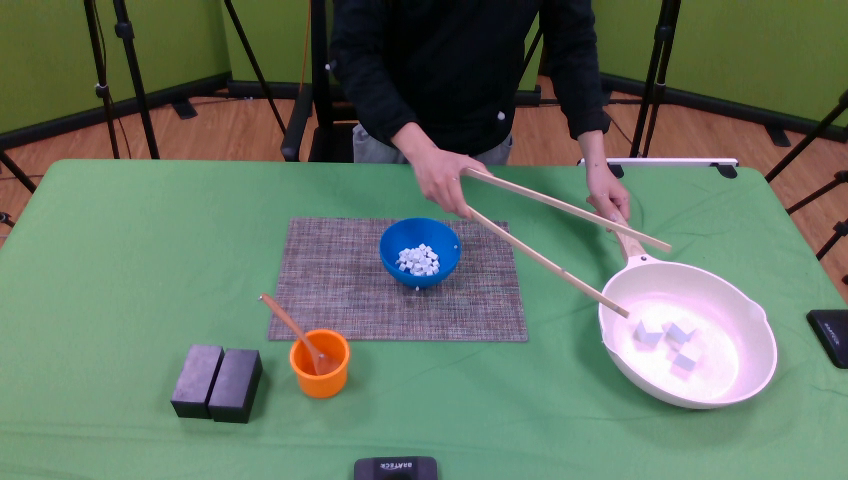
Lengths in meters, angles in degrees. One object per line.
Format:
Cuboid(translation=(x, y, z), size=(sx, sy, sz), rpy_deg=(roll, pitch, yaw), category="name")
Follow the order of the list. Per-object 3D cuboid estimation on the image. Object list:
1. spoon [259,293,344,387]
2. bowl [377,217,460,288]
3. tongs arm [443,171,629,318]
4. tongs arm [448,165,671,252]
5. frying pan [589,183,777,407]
Cuboid(translation=(-0.191, 0.155, 0.947), size=(0.021, 0.194, 0.041), rpy_deg=(-13, 27, 50), category="spoon")
Cuboid(translation=(-0.011, 0.036, 1.118), size=(0.151, 0.077, 0.150), rpy_deg=(2, 46, -2), category="bowl")
Cuboid(translation=(0.174, -0.001, 0.990), size=(0.383, 0.026, 0.050), rpy_deg=(34, 75, 23), category="tongs arm")
Cuboid(translation=(0.216, -0.056, 1.010), size=(0.386, 0.028, 0.028), rpy_deg=(23, 74, 20), category="tongs arm")
Cuboid(translation=(0.412, 0.079, 1.096), size=(0.307, 0.103, 0.484), rpy_deg=(-8, 56, -13), category="frying pan")
